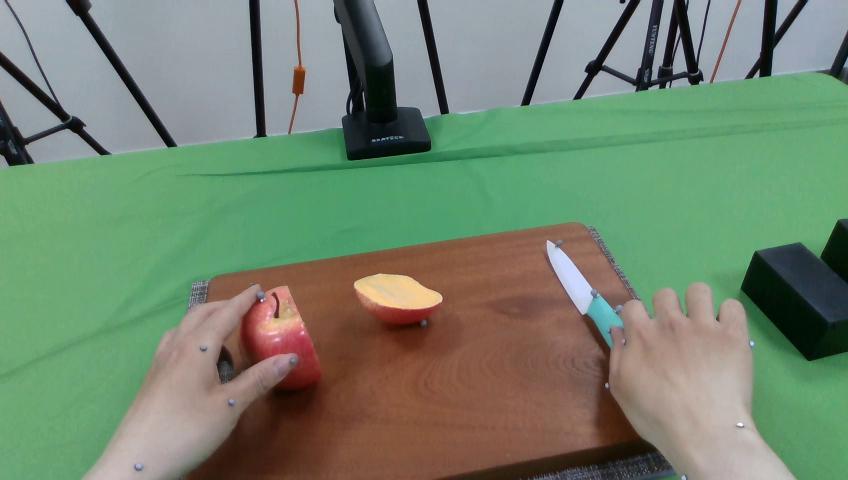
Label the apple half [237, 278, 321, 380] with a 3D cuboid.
[{"bbox_3d":[-0.122,0.078,0.492,0.053,0.075,0.080,-23,51,-16],"label":"apple half"}]

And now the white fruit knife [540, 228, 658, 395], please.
[{"bbox_3d":[0.152,0.051,0.551,0.027,0.016,0.205,-45,39,18],"label":"white fruit knife"}]

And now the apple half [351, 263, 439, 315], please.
[{"bbox_3d":[-0.031,0.050,0.547,0.081,0.033,0.081,12,19,-4],"label":"apple half"}]
